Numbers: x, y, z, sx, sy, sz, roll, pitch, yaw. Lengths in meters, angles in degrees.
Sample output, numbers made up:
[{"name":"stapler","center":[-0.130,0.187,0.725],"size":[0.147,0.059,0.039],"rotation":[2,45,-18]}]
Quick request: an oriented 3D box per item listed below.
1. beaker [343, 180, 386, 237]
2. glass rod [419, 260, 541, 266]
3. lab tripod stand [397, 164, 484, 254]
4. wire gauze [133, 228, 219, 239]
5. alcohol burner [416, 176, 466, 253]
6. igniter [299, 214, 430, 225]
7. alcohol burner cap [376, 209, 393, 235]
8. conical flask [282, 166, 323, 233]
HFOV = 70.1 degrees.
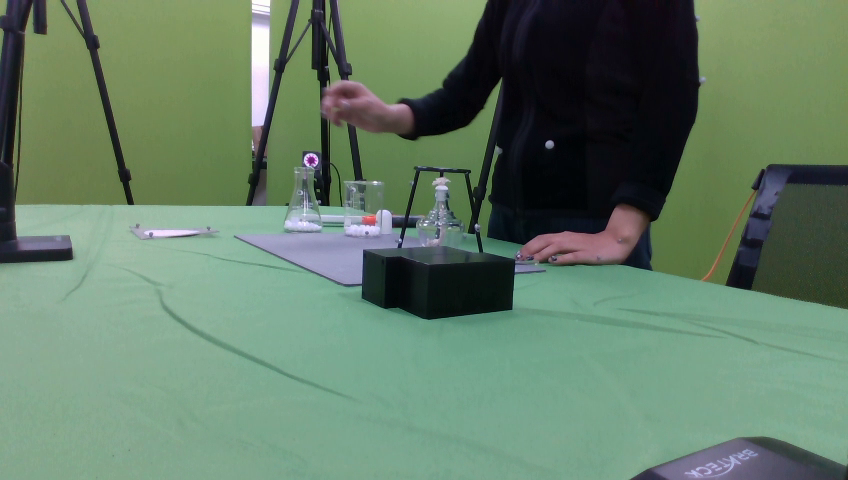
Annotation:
[{"name":"beaker","center":[-0.111,-0.058,1.090],"size":[0.083,0.100,0.074],"rotation":[7,8,33]},{"name":"glass rod","center":[0.080,0.031,0.807],"size":[0.201,0.008,0.008],"rotation":[1,6,-32]},{"name":"lab tripod stand","center":[0.029,-0.049,0.930],"size":[0.148,0.131,0.148],"rotation":[4,6,0]},{"name":"wire gauze","center":[-0.421,-0.014,1.024],"size":[0.122,0.011,0.124],"rotation":[-2,7,-34]},{"name":"alcohol burner","center":[0.027,-0.039,0.934],"size":[0.078,0.119,0.078],"rotation":[2,9,0]},{"name":"igniter","center":[-0.123,-0.044,1.281],"size":[0.278,0.025,0.057],"rotation":[0,-2,-19]},{"name":"alcohol burner cap","center":[-0.075,-0.035,1.150],"size":[0.034,0.048,0.034],"rotation":[2,7,0]},{"name":"conical flask","center":[-0.225,-0.076,1.130],"size":[0.075,0.122,0.075],"rotation":[2,8,0]}]
